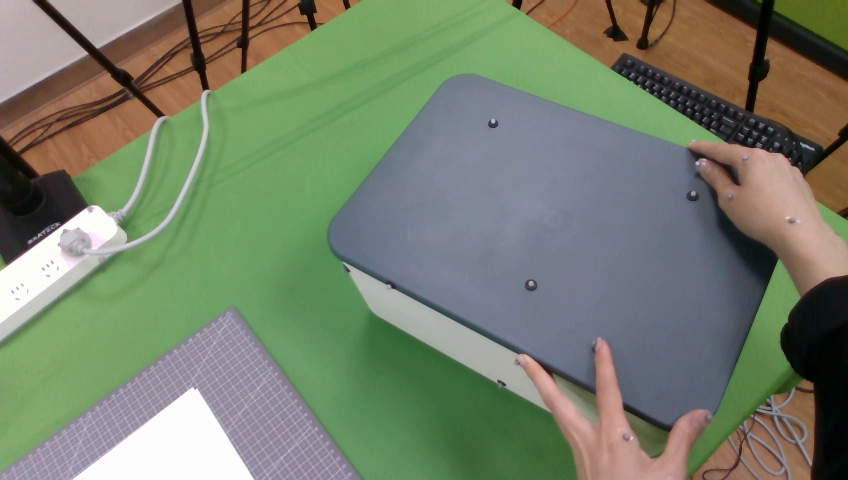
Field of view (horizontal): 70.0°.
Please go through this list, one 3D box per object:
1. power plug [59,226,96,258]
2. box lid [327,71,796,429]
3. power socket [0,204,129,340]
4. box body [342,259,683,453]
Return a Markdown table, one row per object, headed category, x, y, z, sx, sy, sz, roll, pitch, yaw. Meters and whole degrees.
| category | x | y | z | sx | sy | sz | roll | pitch | yaw |
| --- | --- | --- | --- | --- | --- | --- | --- | --- | --- |
| power plug | -0.420 | 0.012 | 0.741 | 0.035 | 0.053 | 0.072 | -33 | 67 | -13 |
| box lid | 0.117 | -0.022 | 0.559 | 0.369 | 0.015 | 0.262 | 26 | 65 | 21 |
| power socket | -0.475 | 0.040 | 0.757 | 0.226 | 0.033 | 0.071 | -42 | 64 | -18 |
| box body | 0.127 | 0.018 | 0.622 | 0.362 | 0.162 | 0.253 | 26 | 65 | 20 |
